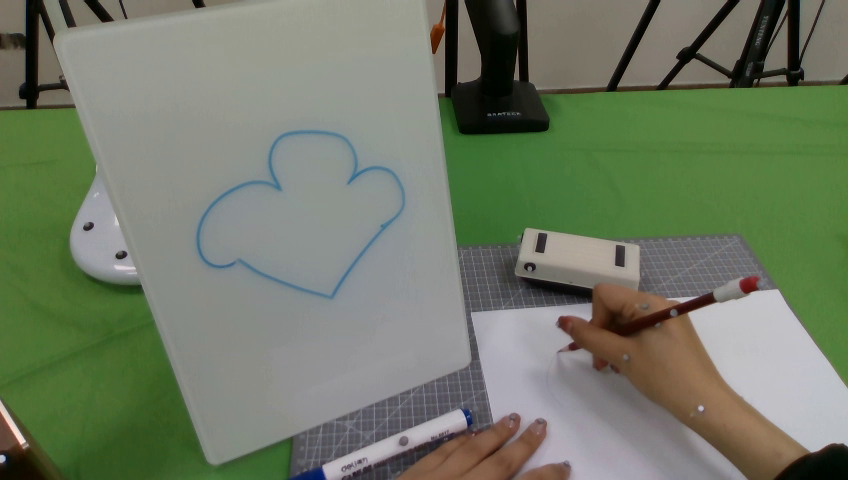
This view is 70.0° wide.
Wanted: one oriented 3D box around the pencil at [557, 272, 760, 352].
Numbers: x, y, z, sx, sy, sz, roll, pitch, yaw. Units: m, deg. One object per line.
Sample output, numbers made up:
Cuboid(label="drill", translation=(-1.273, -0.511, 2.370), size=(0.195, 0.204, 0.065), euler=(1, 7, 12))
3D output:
Cuboid(label="pencil", translation=(0.157, 0.059, 0.441), size=(0.012, 0.194, 0.012), euler=(11, 63, -23))

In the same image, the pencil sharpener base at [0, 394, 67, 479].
Cuboid(label="pencil sharpener base", translation=(-0.270, 0.156, 0.369), size=(0.061, 0.108, 0.076), euler=(33, 51, 30))

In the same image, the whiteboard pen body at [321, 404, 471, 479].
Cuboid(label="whiteboard pen body", translation=(-0.030, 0.150, 0.439), size=(0.141, 0.017, 0.017), euler=(-17, 45, -18))

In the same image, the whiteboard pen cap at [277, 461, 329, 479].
Cuboid(label="whiteboard pen cap", translation=(-0.083, 0.167, 0.421), size=(0.033, 0.018, 0.018), euler=(-18, 45, -18))

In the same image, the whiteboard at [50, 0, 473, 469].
Cuboid(label="whiteboard", translation=(-0.104, -0.024, 0.470), size=(0.218, 0.307, 0.142), euler=(-17, 25, -18))

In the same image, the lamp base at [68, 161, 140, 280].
Cuboid(label="lamp base", translation=(-0.286, -0.080, 0.577), size=(0.178, 0.182, 0.160), euler=(25, 47, 28))

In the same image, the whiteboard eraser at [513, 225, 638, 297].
Cuboid(label="whiteboard eraser", translation=(0.144, 0.020, 0.576), size=(0.112, 0.042, 0.055), euler=(10, 44, 10))
